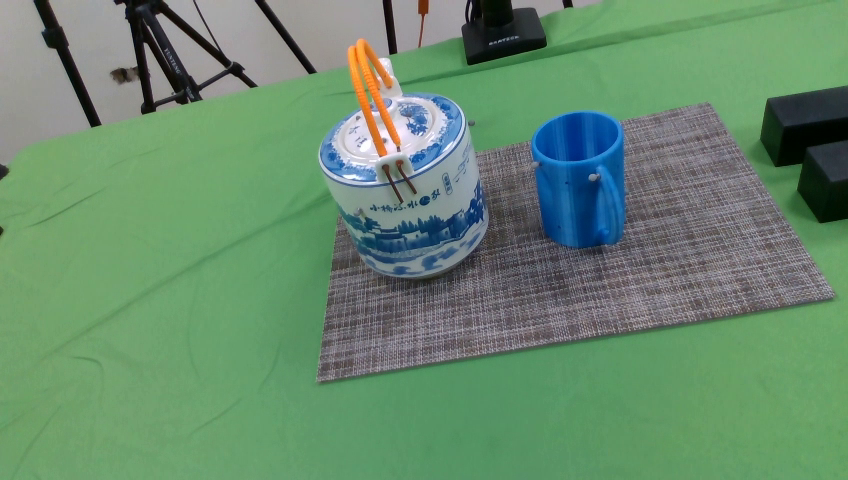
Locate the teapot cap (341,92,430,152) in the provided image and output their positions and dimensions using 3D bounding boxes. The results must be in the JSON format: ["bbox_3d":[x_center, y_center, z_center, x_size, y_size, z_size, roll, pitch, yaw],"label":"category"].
[{"bbox_3d":[-0.037,-0.111,0.552,0.085,0.044,0.084,-8,42,8],"label":"teapot cap"}]

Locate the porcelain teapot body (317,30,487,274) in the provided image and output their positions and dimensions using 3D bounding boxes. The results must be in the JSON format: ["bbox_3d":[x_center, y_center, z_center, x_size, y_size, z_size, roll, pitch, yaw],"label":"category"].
[{"bbox_3d":[-0.030,-0.102,0.599,0.145,0.228,0.203,-16,43,4],"label":"porcelain teapot body"}]

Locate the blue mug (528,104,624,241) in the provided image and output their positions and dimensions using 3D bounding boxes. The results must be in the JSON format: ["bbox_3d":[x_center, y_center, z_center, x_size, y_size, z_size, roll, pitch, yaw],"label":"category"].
[{"bbox_3d":[0.153,-0.054,0.573,0.082,0.107,0.115,-23,43,-3],"label":"blue mug"}]
